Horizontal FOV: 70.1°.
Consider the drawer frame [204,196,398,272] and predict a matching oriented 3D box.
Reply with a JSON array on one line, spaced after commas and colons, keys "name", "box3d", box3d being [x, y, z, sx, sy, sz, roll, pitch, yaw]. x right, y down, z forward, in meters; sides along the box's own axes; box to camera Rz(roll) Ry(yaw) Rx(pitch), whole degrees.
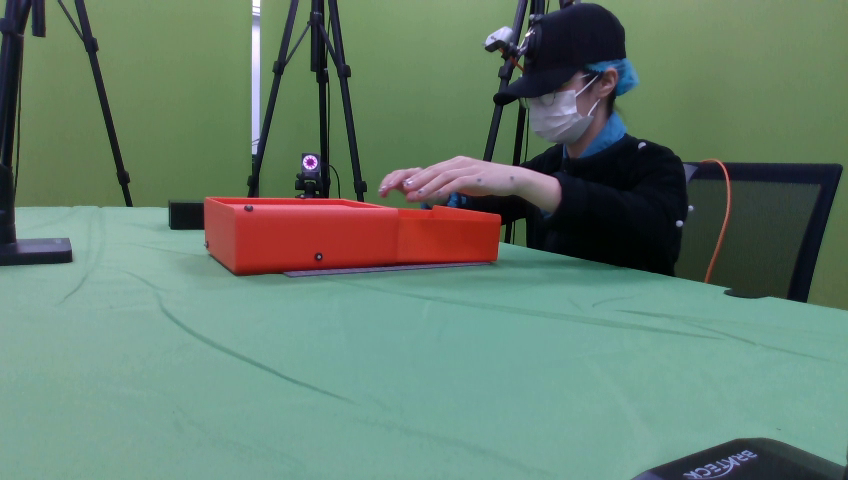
[{"name": "drawer frame", "box3d": [-0.172, -0.016, 0.828, 0.215, 0.082, 0.200, -3, 9, -30]}]

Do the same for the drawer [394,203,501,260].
[{"name": "drawer", "box3d": [-0.025, -0.017, 0.913, 0.213, 0.073, 0.193, -1, 8, -31]}]

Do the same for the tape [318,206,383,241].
[{"name": "tape", "box3d": [-0.129, -0.030, 1.075, 0.117, 0.052, 0.117, 3, 8, 0]}]
